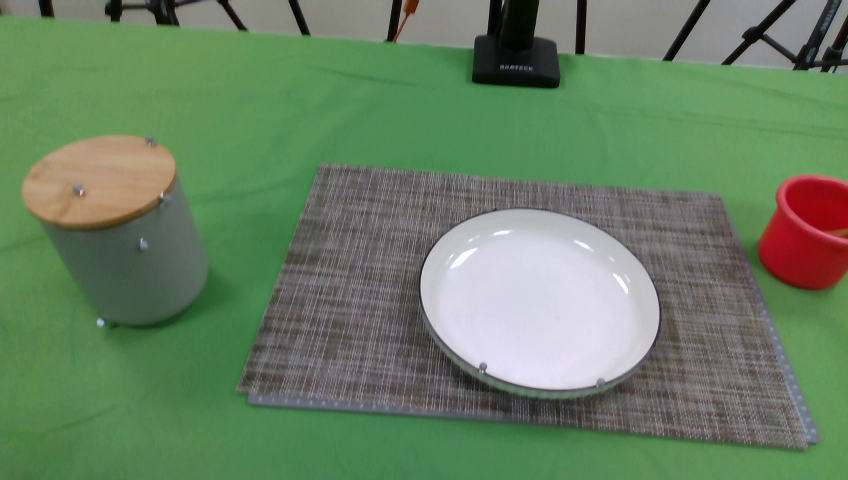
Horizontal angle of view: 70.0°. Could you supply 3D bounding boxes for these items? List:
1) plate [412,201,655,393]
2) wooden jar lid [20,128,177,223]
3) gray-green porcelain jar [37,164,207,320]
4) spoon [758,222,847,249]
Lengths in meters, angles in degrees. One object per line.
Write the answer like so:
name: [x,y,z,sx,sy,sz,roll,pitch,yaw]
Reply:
plate: [0.093,0.048,0.536,0.208,0.039,0.205,2,46,-1]
wooden jar lid: [-0.245,-0.048,0.464,0.108,0.021,0.107,4,45,-4]
gray-green porcelain jar: [-0.247,-0.003,0.511,0.106,0.127,0.105,2,46,-2]
spoon: [0.400,-0.013,0.540,0.041,0.022,0.193,-39,14,-32]
